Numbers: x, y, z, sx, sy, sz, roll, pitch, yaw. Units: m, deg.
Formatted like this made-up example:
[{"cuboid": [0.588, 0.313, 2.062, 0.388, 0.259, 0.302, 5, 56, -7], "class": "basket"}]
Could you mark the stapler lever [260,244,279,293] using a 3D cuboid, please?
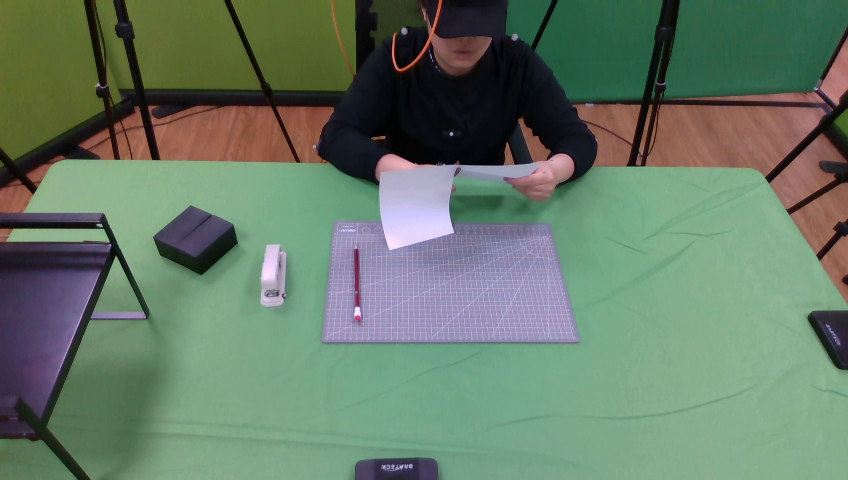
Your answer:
[{"cuboid": [-0.279, 0.045, 1.096, 0.027, 0.040, 0.117, -2, 44, -9], "class": "stapler lever"}]

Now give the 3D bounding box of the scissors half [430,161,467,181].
[{"cuboid": [0.046, -0.135, 1.169, 0.013, 0.040, 0.174, -10, 8, -20], "class": "scissors half"}]

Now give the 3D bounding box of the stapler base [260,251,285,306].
[{"cuboid": [-0.279, 0.064, 1.113, 0.041, 0.024, 0.129, -2, 44, -9], "class": "stapler base"}]

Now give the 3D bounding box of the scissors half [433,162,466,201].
[{"cuboid": [0.050, -0.114, 1.169, 0.013, 0.175, 0.040, -16, 78, -20], "class": "scissors half"}]

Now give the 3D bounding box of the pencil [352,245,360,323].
[{"cuboid": [-0.127, 0.076, 1.120, 0.012, 0.012, 0.192, -2, 44, -7], "class": "pencil"}]
